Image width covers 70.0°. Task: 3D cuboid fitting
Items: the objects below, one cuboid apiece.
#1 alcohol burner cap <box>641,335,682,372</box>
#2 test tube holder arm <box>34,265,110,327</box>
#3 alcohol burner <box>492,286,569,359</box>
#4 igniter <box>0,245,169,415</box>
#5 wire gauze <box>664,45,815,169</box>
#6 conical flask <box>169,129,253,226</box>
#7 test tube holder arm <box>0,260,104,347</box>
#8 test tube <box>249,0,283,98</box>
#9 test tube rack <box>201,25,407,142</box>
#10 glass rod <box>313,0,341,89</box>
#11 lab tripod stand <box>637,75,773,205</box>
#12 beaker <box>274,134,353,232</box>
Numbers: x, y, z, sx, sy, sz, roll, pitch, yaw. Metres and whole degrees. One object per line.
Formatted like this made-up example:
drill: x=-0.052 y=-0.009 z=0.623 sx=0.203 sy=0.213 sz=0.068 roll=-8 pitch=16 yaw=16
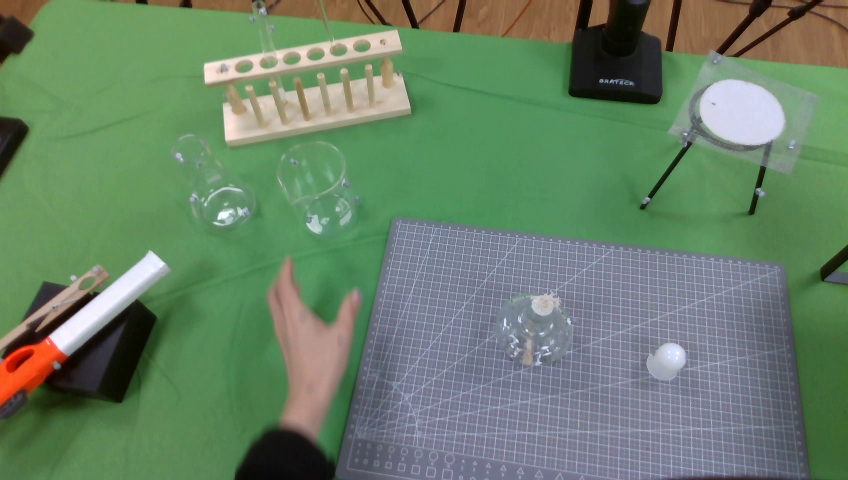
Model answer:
alcohol burner cap: x=0.245 y=0.113 z=0.618 sx=0.034 sy=0.048 sz=0.033 roll=-1 pitch=62 yaw=1
test tube holder arm: x=-0.367 y=0.058 z=0.630 sx=0.088 sy=0.015 sz=0.010 roll=-42 pitch=99 yaw=-18
alcohol burner: x=0.109 y=0.076 z=0.602 sx=0.078 sy=0.120 sz=0.077 roll=0 pitch=61 yaw=0
igniter: x=-0.374 y=0.107 z=0.602 sx=0.057 sy=0.025 sz=0.276 roll=33 pitch=67 yaw=28
wire gauze: x=0.327 y=-0.138 z=0.623 sx=0.121 sy=0.011 sz=0.124 roll=27 pitch=67 yaw=14
conical flask: x=-0.249 y=-0.075 z=0.693 sx=0.075 sy=0.123 sz=0.074 roll=-1 pitch=62 yaw=2
test tube holder arm: x=-0.403 y=0.083 z=0.615 sx=0.178 sy=0.015 sz=0.013 roll=-42 pitch=99 yaw=-18
test tube: x=-0.191 y=-0.230 z=0.737 sx=0.017 sy=0.151 sz=0.017 roll=1 pitch=59 yaw=-2
test tube rack: x=-0.148 y=-0.199 z=0.776 sx=0.242 sy=0.086 sz=0.066 roll=-12 pitch=62 yaw=-4
glass rod: x=-0.122 y=-0.259 z=0.731 sx=0.008 sy=0.201 sz=0.008 roll=-4 pitch=55 yaw=6
lab tripod stand: x=0.322 y=-0.106 z=0.682 sx=0.148 sy=0.132 sz=0.147 roll=0 pitch=61 yaw=0
beaker: x=-0.124 y=-0.058 z=0.693 sx=0.073 sy=0.101 sz=0.083 roll=21 pitch=65 yaw=13
